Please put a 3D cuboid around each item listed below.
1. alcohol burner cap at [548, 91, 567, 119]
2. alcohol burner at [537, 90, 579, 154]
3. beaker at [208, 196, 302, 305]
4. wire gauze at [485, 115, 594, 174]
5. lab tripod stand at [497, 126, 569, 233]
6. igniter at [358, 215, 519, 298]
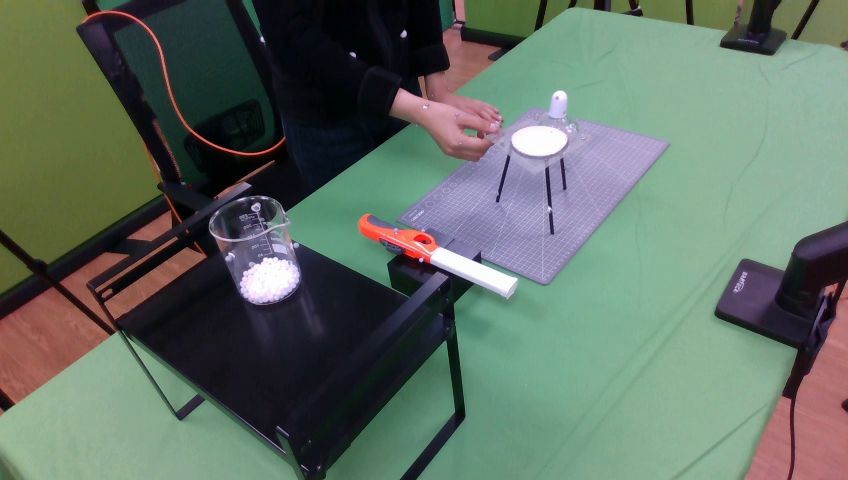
[{"bbox_3d":[0.245,-0.247,1.098,0.034,0.048,0.033,0,46,1],"label":"alcohol burner cap"},{"bbox_3d":[0.248,-0.220,1.122,0.078,0.119,0.077,-6,39,5],"label":"alcohol burner"},{"bbox_3d":[-0.173,0.014,0.647,0.084,0.101,0.073,0,41,8],"label":"beaker"},{"bbox_3d":[0.177,-0.154,0.935,0.122,0.011,0.124,-26,45,-21],"label":"wire gauze"},{"bbox_3d":[0.188,-0.104,0.979,0.148,0.132,0.147,-3,41,3],"label":"lab tripod stand"},{"bbox_3d":[0.010,0.018,0.876,0.274,0.025,0.057,23,46,28],"label":"igniter"}]
